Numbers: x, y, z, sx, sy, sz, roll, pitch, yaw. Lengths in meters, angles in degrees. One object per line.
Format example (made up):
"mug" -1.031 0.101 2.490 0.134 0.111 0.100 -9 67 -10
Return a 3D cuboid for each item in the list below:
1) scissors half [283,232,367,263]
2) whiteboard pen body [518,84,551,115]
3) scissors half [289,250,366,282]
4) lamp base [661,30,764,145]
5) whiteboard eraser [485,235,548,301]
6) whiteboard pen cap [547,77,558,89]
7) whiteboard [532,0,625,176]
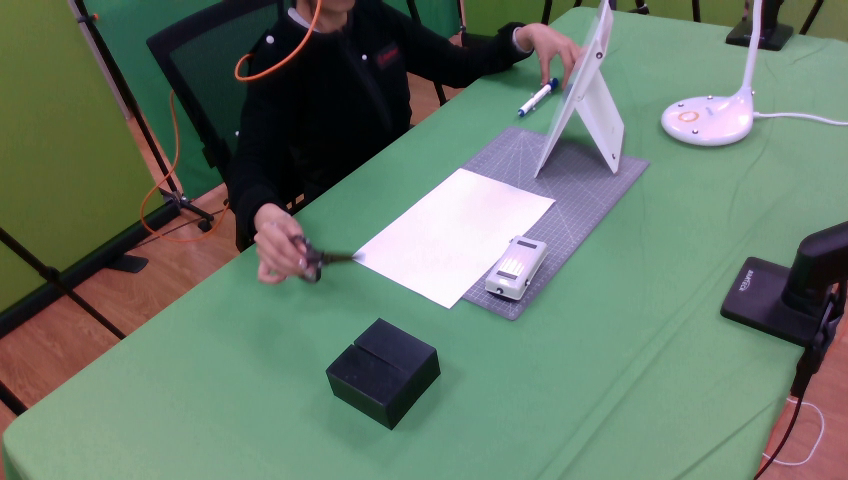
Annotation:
"scissors half" -0.135 0.013 0.806 0.174 0.040 0.013 8 23 41
"whiteboard pen body" 0.243 -0.306 1.289 0.017 0.017 0.141 24 52 33
"scissors half" -0.130 0.032 0.810 0.174 0.040 0.013 -14 14 47
"lamp base" 0.535 -0.287 1.096 0.179 0.181 0.159 -10 40 -4
"whiteboard eraser" 0.137 0.042 0.887 0.055 0.042 0.113 15 46 27
"whiteboard pen cap" 0.279 -0.341 1.321 0.018 0.018 0.033 21 51 30
"whiteboard" 0.320 -0.259 1.050 0.144 0.306 0.217 21 45 5
